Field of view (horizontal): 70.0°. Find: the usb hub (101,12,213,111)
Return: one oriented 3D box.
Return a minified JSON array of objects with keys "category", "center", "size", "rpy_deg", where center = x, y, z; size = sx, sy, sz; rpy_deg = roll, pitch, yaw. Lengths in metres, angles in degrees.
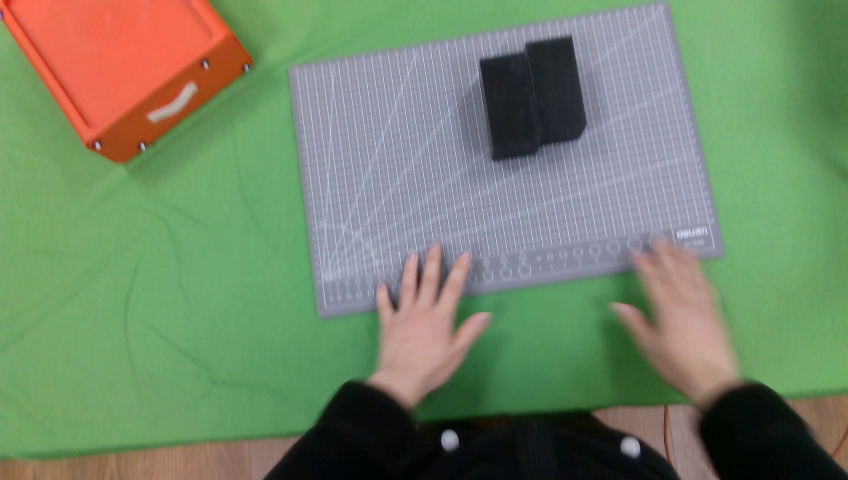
[{"category":"usb hub","center":[-0.314,-0.211,0.713],"size":[0.125,0.025,0.049],"rpy_deg":[-37,82,-1]}]

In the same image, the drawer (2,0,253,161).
[{"category":"drawer","center":[-0.341,-0.232,0.703],"size":[0.194,0.073,0.211],"rpy_deg":[-38,81,-1]}]

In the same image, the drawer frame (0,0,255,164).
[{"category":"drawer frame","center":[-0.343,-0.233,0.702],"size":[0.201,0.083,0.212],"rpy_deg":[-38,79,-2]}]
